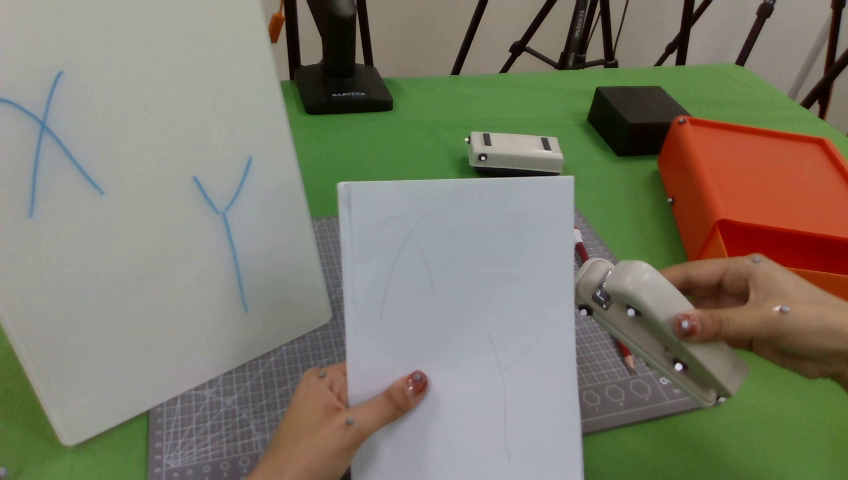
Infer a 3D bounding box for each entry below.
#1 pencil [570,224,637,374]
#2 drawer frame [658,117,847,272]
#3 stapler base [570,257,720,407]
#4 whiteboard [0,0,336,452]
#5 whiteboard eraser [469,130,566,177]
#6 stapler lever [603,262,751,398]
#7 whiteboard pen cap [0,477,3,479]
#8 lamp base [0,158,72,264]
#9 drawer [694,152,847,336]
[{"bbox_3d":[0.173,0.050,0.590,0.012,0.012,0.192,0,43,-8],"label":"pencil"},{"bbox_3d":[0.389,-0.043,0.683,0.202,0.083,0.211,8,40,1],"label":"drawer frame"},{"bbox_3d":[0.162,0.062,0.420,0.130,0.024,0.041,39,79,-2],"label":"stapler base"},{"bbox_3d":[-0.219,-0.047,0.456,0.217,0.308,0.142,-24,30,-31],"label":"whiteboard"},{"bbox_3d":[0.113,-0.104,0.741,0.113,0.042,0.055,4,42,-5],"label":"whiteboard eraser"},{"bbox_3d":[0.168,0.058,0.395,0.118,0.040,0.027,39,78,-2],"label":"stapler lever"},{"bbox_3d":[-0.286,0.156,0.386,0.033,0.018,0.018,13,40,9],"label":"whiteboard pen cap"},{"bbox_3d":[-0.424,-0.087,0.521,0.178,0.182,0.160,19,42,17],"label":"lamp base"},{"bbox_3d":[0.383,-0.002,0.637,0.194,0.074,0.210,8,40,2],"label":"drawer"}]
